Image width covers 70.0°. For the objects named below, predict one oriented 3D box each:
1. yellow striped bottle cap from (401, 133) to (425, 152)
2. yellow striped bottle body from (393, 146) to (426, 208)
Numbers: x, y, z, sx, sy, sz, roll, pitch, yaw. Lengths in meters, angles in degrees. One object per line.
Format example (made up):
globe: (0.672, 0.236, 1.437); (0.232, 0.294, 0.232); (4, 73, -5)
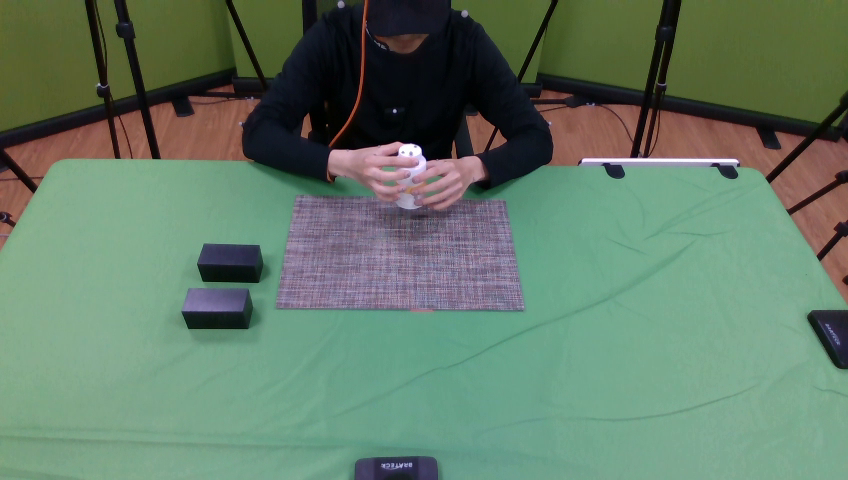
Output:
yellow striped bottle cap: (-0.022, -0.181, 1.129); (0.044, 0.019, 0.044); (6, 36, -4)
yellow striped bottle body: (-0.027, -0.127, 1.178); (0.063, 0.121, 0.062); (-1, 40, 1)
